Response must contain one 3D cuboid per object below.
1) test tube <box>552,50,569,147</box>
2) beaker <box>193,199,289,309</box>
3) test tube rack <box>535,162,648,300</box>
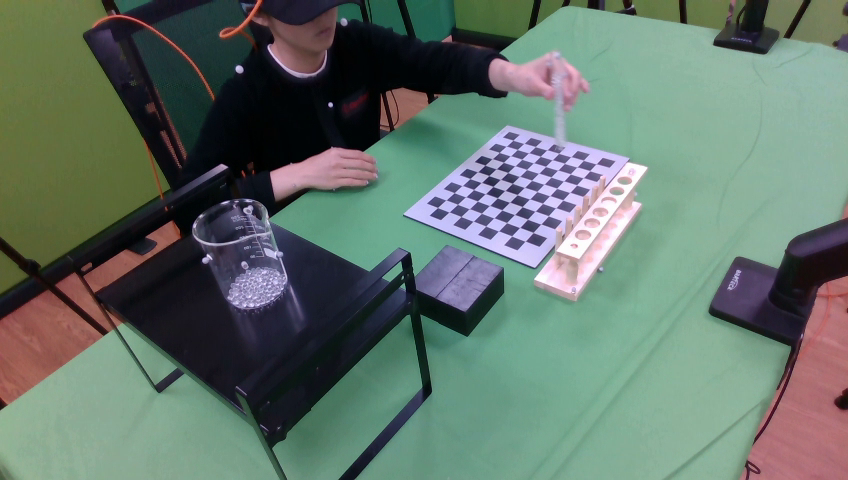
[{"bbox_3d":[0.201,-0.204,0.888,0.017,0.151,0.017,-9,36,7],"label":"test tube"},{"bbox_3d":[-0.188,0.018,0.646,0.083,0.101,0.074,9,43,18],"label":"beaker"},{"bbox_3d":[0.257,-0.024,0.916,0.066,0.085,0.243,22,49,30],"label":"test tube rack"}]
